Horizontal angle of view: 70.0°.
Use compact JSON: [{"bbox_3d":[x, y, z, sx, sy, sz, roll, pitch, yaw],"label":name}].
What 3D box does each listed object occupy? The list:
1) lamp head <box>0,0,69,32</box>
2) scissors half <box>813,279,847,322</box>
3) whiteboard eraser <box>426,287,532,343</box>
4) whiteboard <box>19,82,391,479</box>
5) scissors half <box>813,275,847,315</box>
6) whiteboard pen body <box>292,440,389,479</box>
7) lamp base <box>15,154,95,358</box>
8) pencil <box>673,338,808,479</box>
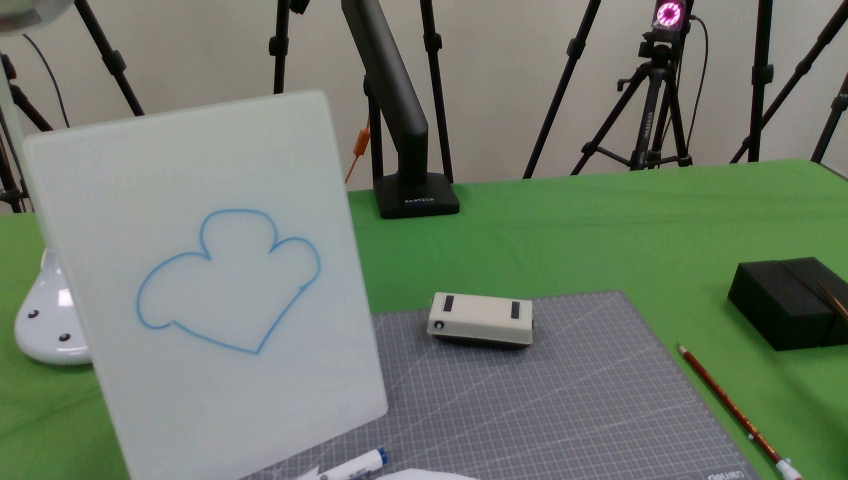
[{"bbox_3d":[-0.341,-0.234,0.453,0.122,0.113,0.112,46,49,16],"label":"lamp head"},{"bbox_3d":[0.406,0.085,0.556,0.013,0.040,0.173,-29,24,16],"label":"scissors half"},{"bbox_3d":[0.061,0.082,0.661,0.112,0.042,0.055,5,34,6],"label":"whiteboard eraser"},{"bbox_3d":[-0.180,0.034,0.542,0.218,0.307,0.142,-17,18,-25],"label":"whiteboard"},{"bbox_3d":[0.418,0.098,0.568,0.013,0.040,0.173,-33,45,19],"label":"scissors half"},{"bbox_3d":[-0.093,0.197,0.491,0.141,0.017,0.017,-18,37,-25],"label":"whiteboard pen body"},{"bbox_3d":[-0.374,0.006,0.641,0.178,0.181,0.160,17,36,27],"label":"lamp base"},{"bbox_3d":[0.299,0.157,0.590,0.012,0.012,0.192,-7,31,-12],"label":"pencil"}]
